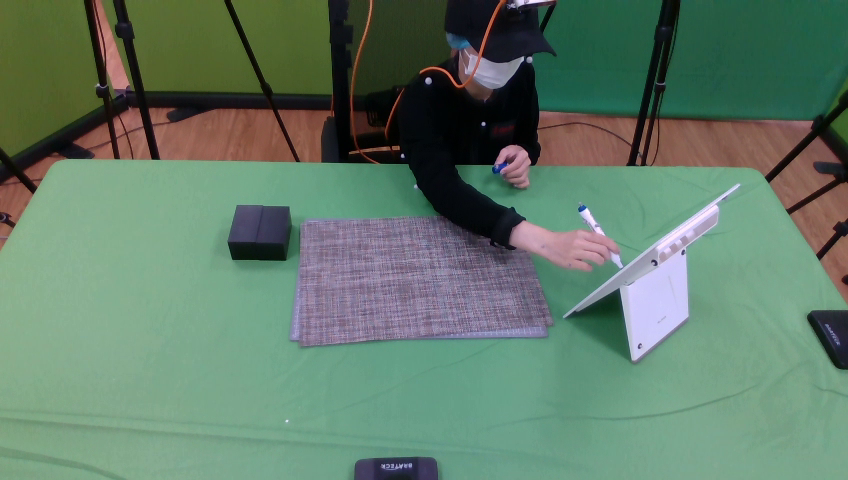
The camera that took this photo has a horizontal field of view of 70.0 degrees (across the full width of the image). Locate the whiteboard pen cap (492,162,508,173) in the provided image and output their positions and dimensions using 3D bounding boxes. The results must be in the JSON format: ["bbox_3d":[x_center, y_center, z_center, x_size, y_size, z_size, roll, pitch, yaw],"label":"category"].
[{"bbox_3d":[0.162,-0.156,1.302,0.033,0.018,0.018,-20,51,-15],"label":"whiteboard pen cap"}]

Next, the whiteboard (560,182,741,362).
[{"bbox_3d":[0.406,0.075,1.001,0.217,0.306,0.143,-28,73,-28],"label":"whiteboard"}]

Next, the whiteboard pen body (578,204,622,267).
[{"bbox_3d":[0.309,-0.003,1.051,0.141,0.017,0.017,54,53,-11],"label":"whiteboard pen body"}]
